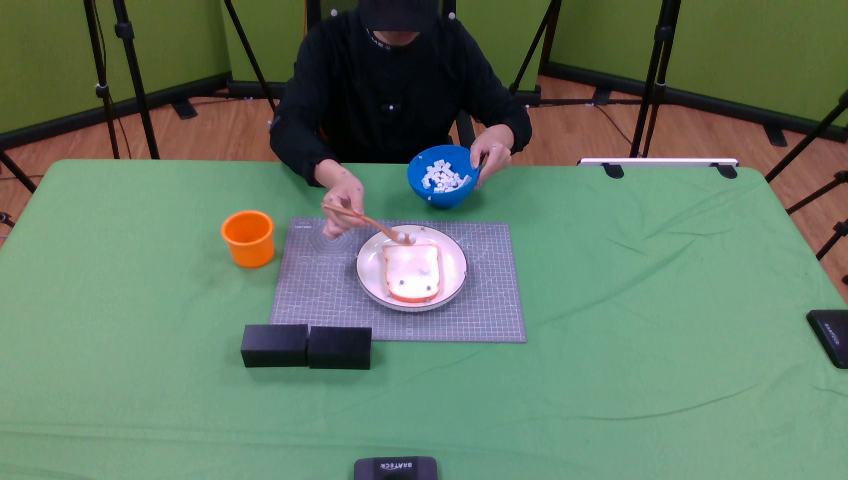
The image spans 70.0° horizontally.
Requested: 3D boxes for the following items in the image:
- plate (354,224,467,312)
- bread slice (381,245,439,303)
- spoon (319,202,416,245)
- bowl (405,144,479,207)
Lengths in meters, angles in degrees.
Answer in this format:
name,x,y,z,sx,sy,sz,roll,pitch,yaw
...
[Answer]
name,x,y,z,sx,sy,sz,roll,pitch,yaw
plate,-0.025,0.055,1.128,0.209,0.038,0.208,3,46,-2
bread slice,-0.022,0.061,1.126,0.107,0.018,0.133,-3,45,-8
spoon,-0.098,-0.031,1.075,0.195,0.021,0.041,26,27,-29
bowl,0.042,-0.121,1.256,0.151,0.077,0.150,-6,48,7
